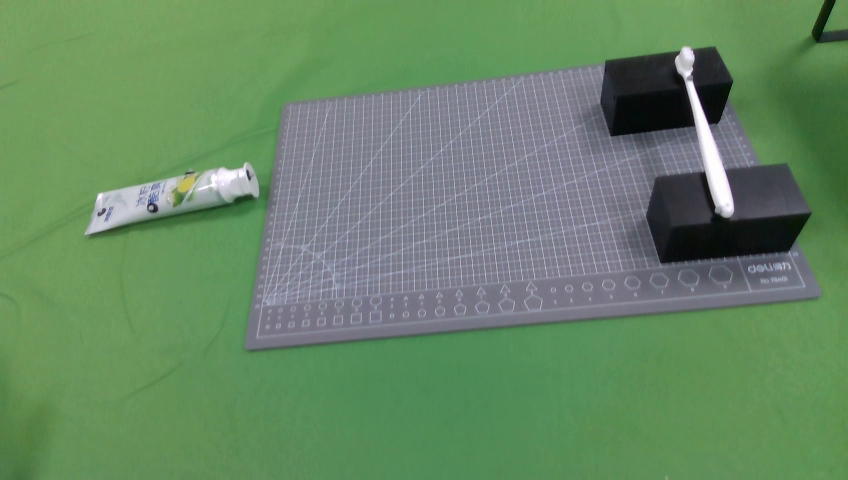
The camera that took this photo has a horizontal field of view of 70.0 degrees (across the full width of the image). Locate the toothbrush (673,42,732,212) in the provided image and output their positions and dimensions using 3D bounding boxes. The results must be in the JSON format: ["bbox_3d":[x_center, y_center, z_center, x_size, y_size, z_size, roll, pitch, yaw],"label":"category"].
[{"bbox_3d":[0.225,-0.098,0.491,0.014,0.017,0.180,6,56,-3],"label":"toothbrush"}]

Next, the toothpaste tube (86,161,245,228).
[{"bbox_3d":[-0.247,-0.050,0.589,0.165,0.035,0.054,-11,48,6],"label":"toothpaste tube"}]

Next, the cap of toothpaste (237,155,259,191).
[{"bbox_3d":[-0.169,-0.064,0.579,0.011,0.038,0.037,-14,53,0],"label":"cap of toothpaste"}]
